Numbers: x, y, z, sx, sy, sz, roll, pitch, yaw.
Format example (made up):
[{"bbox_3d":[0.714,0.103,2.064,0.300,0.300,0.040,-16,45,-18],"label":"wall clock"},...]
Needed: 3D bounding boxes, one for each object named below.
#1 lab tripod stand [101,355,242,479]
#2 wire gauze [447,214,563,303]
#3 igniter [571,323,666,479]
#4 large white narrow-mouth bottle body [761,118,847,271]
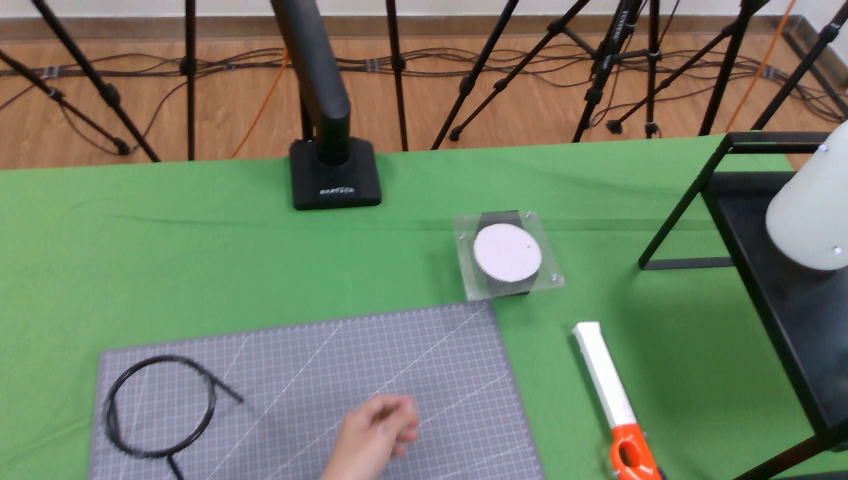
[{"bbox_3d":[-0.228,0.178,0.559,0.149,0.132,0.147,6,54,-7],"label":"lab tripod stand"},{"bbox_3d":[0.097,0.017,0.749,0.122,0.011,0.124,-4,56,-12],"label":"wire gauze"},{"bbox_3d":[0.222,0.216,0.672,0.057,0.025,0.273,1,53,-21],"label":"igniter"},{"bbox_3d":[0.417,-0.061,0.575,0.102,0.196,0.101,4,53,-5],"label":"large white narrow-mouth bottle body"}]
